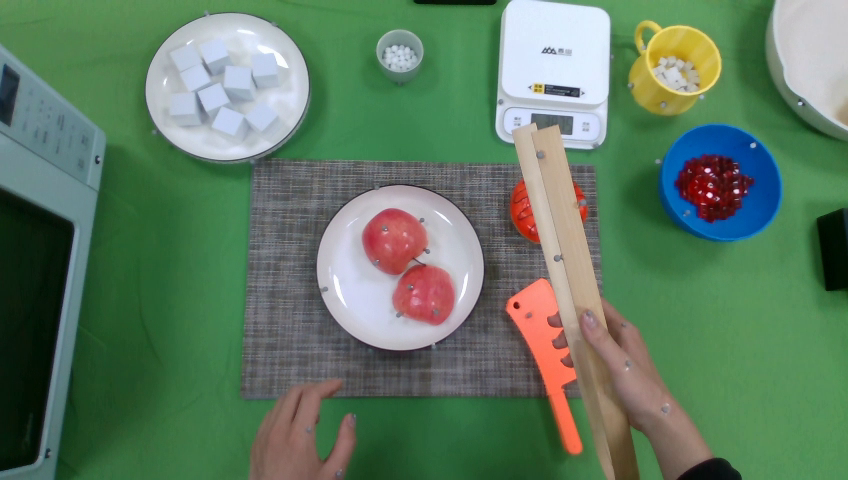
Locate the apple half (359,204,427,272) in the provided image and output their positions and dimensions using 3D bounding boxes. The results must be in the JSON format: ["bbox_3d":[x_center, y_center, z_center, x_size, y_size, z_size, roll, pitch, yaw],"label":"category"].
[{"bbox_3d":[-0.039,-0.007,0.741,0.081,0.053,0.074,-38,79,-10],"label":"apple half"}]

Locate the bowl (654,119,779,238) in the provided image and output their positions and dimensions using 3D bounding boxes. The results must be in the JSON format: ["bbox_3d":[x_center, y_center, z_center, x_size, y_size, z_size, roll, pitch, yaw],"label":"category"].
[{"bbox_3d":[0.358,-0.069,0.774,0.151,0.077,0.150,1,79,-2],"label":"bowl"}]

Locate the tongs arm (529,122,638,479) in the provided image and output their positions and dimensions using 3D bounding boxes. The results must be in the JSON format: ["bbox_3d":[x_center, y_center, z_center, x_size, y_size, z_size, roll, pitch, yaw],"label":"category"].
[{"bbox_3d":[0.155,0.077,0.581,0.026,0.050,0.386,-17,102,0],"label":"tongs arm"}]

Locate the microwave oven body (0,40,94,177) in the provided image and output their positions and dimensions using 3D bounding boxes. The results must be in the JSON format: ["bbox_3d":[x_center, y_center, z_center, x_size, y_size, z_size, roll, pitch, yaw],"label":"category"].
[{"bbox_3d":[-0.568,0.034,0.608,0.326,0.261,0.440,3,79,-3],"label":"microwave oven body"}]

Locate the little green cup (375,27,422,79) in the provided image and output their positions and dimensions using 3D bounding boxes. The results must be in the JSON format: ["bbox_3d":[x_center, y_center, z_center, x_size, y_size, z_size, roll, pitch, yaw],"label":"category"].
[{"bbox_3d":[-0.034,-0.248,0.810,0.061,0.039,0.061,1,78,-2],"label":"little green cup"}]

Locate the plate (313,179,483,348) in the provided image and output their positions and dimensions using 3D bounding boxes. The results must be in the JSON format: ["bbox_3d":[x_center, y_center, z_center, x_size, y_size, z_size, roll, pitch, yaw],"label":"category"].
[{"bbox_3d":[-0.032,0.029,0.750,0.209,0.038,0.208,1,79,-3],"label":"plate"}]

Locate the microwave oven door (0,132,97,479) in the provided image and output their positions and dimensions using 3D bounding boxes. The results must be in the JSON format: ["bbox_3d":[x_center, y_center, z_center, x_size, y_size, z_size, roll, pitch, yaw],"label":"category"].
[{"bbox_3d":[-0.423,0.083,0.600,0.039,0.244,0.354,3,78,-2],"label":"microwave oven door"}]

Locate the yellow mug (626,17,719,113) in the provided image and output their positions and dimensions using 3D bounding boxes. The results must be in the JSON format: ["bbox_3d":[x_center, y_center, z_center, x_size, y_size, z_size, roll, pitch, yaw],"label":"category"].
[{"bbox_3d":[0.322,-0.243,0.813,0.100,0.064,0.130,-32,81,-8],"label":"yellow mug"}]

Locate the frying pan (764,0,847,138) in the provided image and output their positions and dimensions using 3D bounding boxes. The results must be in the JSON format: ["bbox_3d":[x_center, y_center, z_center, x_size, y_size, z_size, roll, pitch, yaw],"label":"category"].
[{"bbox_3d":[0.647,-0.178,0.797,0.307,0.103,0.484,-26,73,-7],"label":"frying pan"}]

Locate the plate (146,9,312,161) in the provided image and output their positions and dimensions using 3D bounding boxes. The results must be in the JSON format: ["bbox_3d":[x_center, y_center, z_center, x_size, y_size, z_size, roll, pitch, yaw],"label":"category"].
[{"bbox_3d":[-0.249,-0.198,0.789,0.208,0.039,0.206,1,78,-3],"label":"plate"}]

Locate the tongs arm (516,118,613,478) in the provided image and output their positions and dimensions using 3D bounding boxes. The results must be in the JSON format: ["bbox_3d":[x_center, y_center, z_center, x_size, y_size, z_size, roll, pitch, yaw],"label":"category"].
[{"bbox_3d":[0.153,0.069,0.616,0.028,0.028,0.389,-18,103,-4],"label":"tongs arm"}]

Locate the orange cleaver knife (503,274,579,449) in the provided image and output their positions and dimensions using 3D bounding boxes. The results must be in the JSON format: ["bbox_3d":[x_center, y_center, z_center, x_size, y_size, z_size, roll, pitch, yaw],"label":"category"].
[{"bbox_3d":[0.162,0.146,0.746,0.077,0.012,0.210,-16,78,-12],"label":"orange cleaver knife"}]

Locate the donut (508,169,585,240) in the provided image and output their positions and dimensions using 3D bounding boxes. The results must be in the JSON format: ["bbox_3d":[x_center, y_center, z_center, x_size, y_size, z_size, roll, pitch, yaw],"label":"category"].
[{"bbox_3d":[0.155,-0.048,0.772,0.099,0.048,0.098,0,79,-1],"label":"donut"}]

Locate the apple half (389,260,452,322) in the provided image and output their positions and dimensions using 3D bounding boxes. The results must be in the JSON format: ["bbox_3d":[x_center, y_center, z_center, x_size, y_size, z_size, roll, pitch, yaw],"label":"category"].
[{"bbox_3d":[-0.003,0.059,0.738,0.081,0.033,0.081,0,81,2],"label":"apple half"}]

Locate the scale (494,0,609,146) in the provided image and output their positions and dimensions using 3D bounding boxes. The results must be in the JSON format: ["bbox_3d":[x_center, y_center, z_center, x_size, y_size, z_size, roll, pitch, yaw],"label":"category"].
[{"bbox_3d":[0.173,-0.230,0.820,0.149,0.031,0.200,5,79,-1],"label":"scale"}]

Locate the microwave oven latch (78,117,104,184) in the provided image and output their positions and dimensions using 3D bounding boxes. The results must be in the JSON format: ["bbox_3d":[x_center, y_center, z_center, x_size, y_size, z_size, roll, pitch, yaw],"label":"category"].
[{"bbox_3d":[-0.415,-0.110,0.743,0.030,0.029,0.079,5,79,-2],"label":"microwave oven latch"}]
